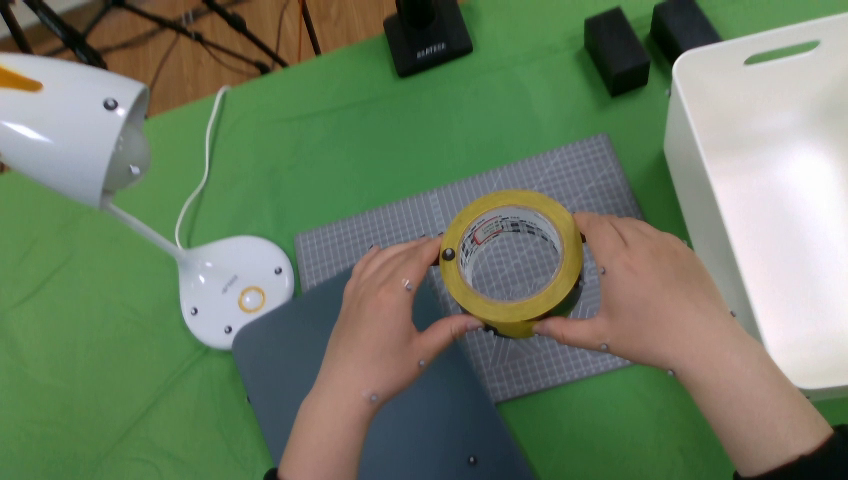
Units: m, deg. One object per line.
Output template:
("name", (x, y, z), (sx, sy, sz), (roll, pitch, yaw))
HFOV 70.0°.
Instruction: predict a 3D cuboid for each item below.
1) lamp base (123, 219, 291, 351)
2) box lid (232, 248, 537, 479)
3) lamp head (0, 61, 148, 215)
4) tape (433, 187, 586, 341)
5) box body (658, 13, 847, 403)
("lamp base", (-0.285, 0.039, 0.763), (0.178, 0.182, 0.160), (19, 72, 23))
("box lid", (-0.060, 0.206, 0.722), (0.263, 0.015, 0.368), (-30, 66, -2))
("lamp head", (-0.303, -0.090, 0.492), (0.123, 0.112, 0.112), (18, 69, -15))
("tape", (0.068, 0.018, 0.482), (0.116, 0.053, 0.116), (-5, 66, 12))
("box body", (0.415, -0.030, 0.629), (0.254, 0.162, 0.361), (-12, 65, 9))
